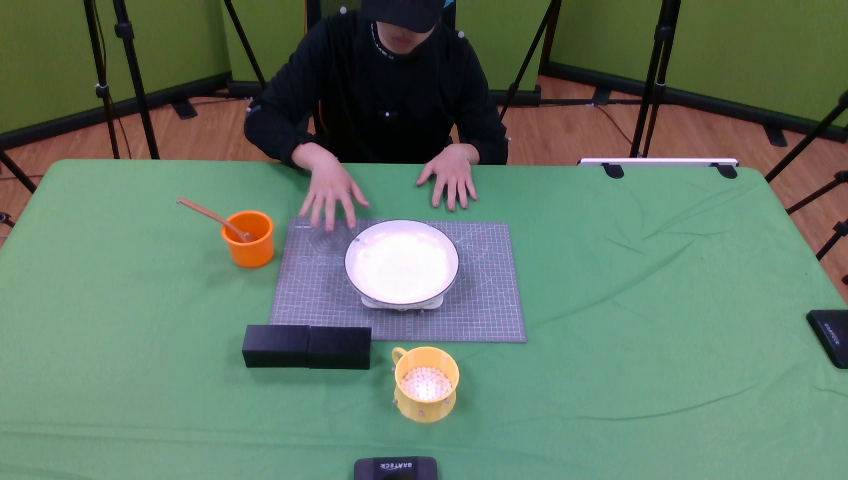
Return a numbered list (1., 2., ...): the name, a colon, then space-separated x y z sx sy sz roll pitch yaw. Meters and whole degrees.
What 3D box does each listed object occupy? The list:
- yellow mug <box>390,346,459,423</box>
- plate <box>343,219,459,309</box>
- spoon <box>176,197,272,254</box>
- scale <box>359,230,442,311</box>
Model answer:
1. yellow mug: -0.009 0.217 0.958 0.100 0.064 0.130 -33 56 -31
2. plate: -0.041 0.046 1.094 0.209 0.038 0.208 2 46 -2
3. spoon: -0.363 -0.028 1.108 0.021 0.195 0.041 -35 36 24
4. scale: -0.042 0.047 1.138 0.149 0.032 0.199 2 46 -3
